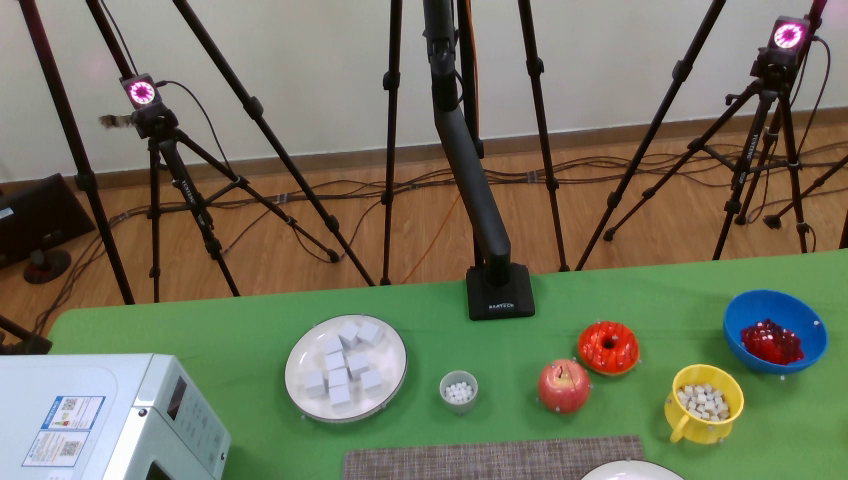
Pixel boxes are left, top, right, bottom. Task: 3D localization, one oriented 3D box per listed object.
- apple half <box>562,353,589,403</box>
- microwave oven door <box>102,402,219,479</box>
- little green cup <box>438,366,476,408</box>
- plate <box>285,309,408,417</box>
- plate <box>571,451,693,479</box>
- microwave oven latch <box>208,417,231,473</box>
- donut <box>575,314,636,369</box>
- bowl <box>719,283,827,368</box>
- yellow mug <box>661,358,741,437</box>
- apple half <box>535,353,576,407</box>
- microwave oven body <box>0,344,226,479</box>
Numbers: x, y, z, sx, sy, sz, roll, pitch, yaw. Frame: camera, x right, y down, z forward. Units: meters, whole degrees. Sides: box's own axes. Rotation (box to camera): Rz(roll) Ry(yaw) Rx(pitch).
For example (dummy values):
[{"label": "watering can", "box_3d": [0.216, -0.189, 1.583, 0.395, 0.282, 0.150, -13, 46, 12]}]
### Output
[{"label": "apple half", "box_3d": [0.241, 0.216, 0.953, 0.033, 0.082, 0.080, -13, 46, 1]}, {"label": "microwave oven door", "box_3d": [-0.342, 0.405, 0.708, 0.039, 0.246, 0.352, -2, 47, 6]}, {"label": "little green cup", "box_3d": [0.055, 0.239, 0.980, 0.061, 0.039, 0.061, -4, 47, 4]}, {"label": "plate", "box_3d": [-0.129, 0.209, 1.031, 0.207, 0.039, 0.205, -3, 47, 4]}, {"label": "plate", "box_3d": [0.285, 0.388, 0.807, 0.209, 0.038, 0.207, -4, 47, 4]}, {"label": "microwave oven latch", "box_3d": [-0.320, 0.314, 0.931, 0.030, 0.030, 0.078, 0, 48, 7]}, {"label": "donut", "box_3d": [0.303, 0.169, 1.011, 0.099, 0.049, 0.098, -4, 49, 6]}, {"label": "bowl", "box_3d": [0.548, 0.150, 0.974, 0.151, 0.077, 0.150, -4, 47, 5]}, {"label": "yellow mug", "box_3d": [0.406, 0.246, 0.910, 0.131, 0.064, 0.099, -37, 53, -24]}, {"label": "apple half", "box_3d": [0.203, 0.225, 0.952, 0.053, 0.075, 0.080, -13, 51, 1]}, {"label": "microwave oven body", "box_3d": [-0.484, 0.383, 0.754, 0.326, 0.263, 0.437, -2, 48, 5]}]
